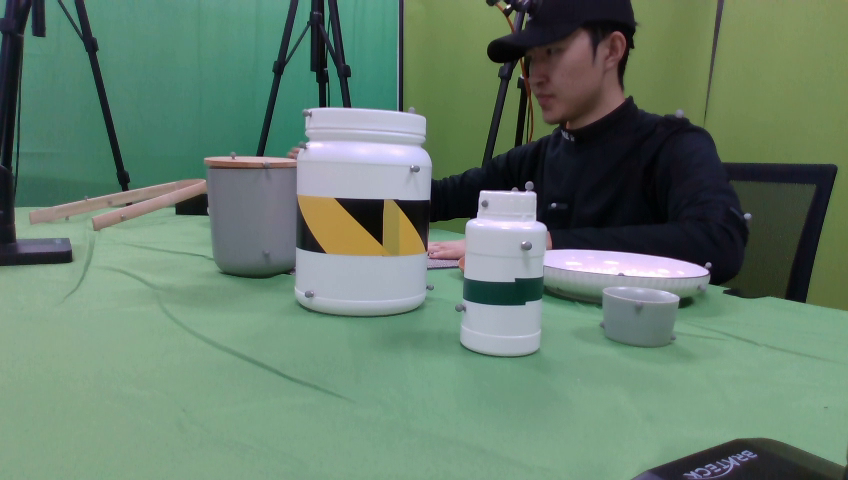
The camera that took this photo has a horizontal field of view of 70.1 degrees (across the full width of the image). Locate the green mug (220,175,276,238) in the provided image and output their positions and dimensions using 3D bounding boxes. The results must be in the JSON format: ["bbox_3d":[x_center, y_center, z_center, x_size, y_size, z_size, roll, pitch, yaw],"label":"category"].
[{"bbox_3d":[-0.310,-0.060,1.051,0.093,0.105,0.124,-2,8,-31],"label":"green mug"}]

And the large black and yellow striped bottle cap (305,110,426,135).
[{"bbox_3d":[-0.055,-0.110,0.574,0.115,0.019,0.115,1,7,0],"label":"large black and yellow striped bottle cap"}]

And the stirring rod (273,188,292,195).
[{"bbox_3d":[-0.354,-0.122,1.519,0.006,0.014,0.176,2,6,1],"label":"stirring rod"}]

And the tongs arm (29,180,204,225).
[{"bbox_3d":[-0.609,-0.083,1.245,0.050,0.026,0.386,5,16,23],"label":"tongs arm"}]

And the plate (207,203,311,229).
[{"bbox_3d":[-0.342,-0.050,1.260,0.208,0.039,0.207,3,8,0],"label":"plate"}]

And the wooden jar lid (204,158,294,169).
[{"bbox_3d":[-0.202,-0.086,0.714,0.108,0.020,0.108,3,10,0],"label":"wooden jar lid"}]

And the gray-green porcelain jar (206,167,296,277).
[{"bbox_3d":[-0.201,-0.024,0.724,0.106,0.126,0.106,-1,9,1],"label":"gray-green porcelain jar"}]

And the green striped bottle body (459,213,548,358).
[{"bbox_3d":[0.061,0.024,0.460,0.063,0.119,0.063,2,7,0],"label":"green striped bottle body"}]

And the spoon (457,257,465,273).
[{"bbox_3d":[0.059,0.044,0.696,0.041,0.021,0.194,20,7,0],"label":"spoon"}]

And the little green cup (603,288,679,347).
[{"bbox_3d":[0.180,0.064,0.505,0.061,0.038,0.061,2,7,0],"label":"little green cup"}]

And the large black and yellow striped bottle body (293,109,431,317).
[{"bbox_3d":[-0.060,-0.028,0.584,0.131,0.184,0.130,2,7,0],"label":"large black and yellow striped bottle body"}]

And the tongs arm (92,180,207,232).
[{"bbox_3d":[-0.534,-0.076,1.221,0.028,0.028,0.388,-2,15,12],"label":"tongs arm"}]

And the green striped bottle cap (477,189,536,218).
[{"bbox_3d":[0.062,-0.027,0.453,0.044,0.020,0.044,2,6,0],"label":"green striped bottle cap"}]

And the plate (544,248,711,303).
[{"bbox_3d":[0.219,0.042,0.706,0.209,0.038,0.209,2,7,0],"label":"plate"}]
